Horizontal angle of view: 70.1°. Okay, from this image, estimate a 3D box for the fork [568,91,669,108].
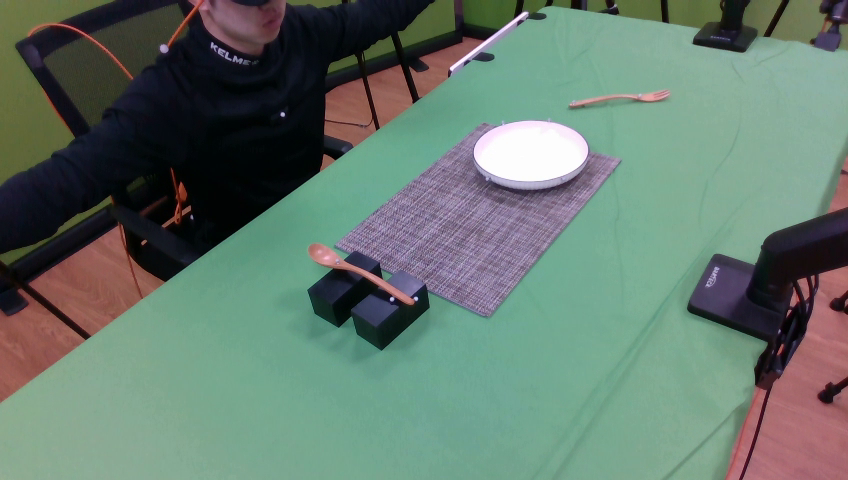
[{"bbox_3d":[0.402,-0.290,1.252,0.207,0.019,0.028,-4,47,1],"label":"fork"}]

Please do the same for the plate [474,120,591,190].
[{"bbox_3d":[0.196,-0.151,1.099,0.207,0.039,0.206,-4,40,4],"label":"plate"}]

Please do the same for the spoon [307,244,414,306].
[{"bbox_3d":[-0.091,0.048,0.848,0.192,0.021,0.042,22,26,30],"label":"spoon"}]
